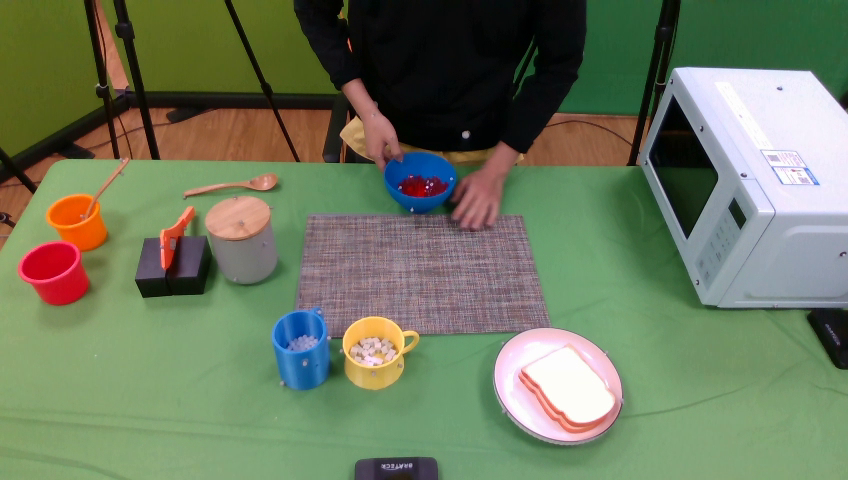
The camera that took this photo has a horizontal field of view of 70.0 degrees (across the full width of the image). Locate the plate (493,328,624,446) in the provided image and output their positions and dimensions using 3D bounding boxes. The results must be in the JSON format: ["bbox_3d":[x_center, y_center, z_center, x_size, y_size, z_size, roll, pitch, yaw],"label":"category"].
[{"bbox_3d":[0.213,0.236,0.974,0.208,0.039,0.206,2,46,-2],"label":"plate"}]

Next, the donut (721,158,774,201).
[{"bbox_3d":[0.648,-0.122,1.215,0.099,0.048,0.098,-3,56,5],"label":"donut"}]

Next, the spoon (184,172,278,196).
[{"bbox_3d":[-0.405,-0.116,1.275,0.194,0.022,0.041,-8,66,-12],"label":"spoon"}]

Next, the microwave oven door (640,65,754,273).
[{"bbox_3d":[0.523,-0.147,1.193,0.039,0.245,0.353,0,47,-3],"label":"microwave oven door"}]

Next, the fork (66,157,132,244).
[{"bbox_3d":[-0.608,-0.074,1.132,0.207,0.019,0.028,-52,48,10],"label":"fork"}]

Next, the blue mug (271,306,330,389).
[{"bbox_3d":[-0.188,0.163,0.969,0.082,0.106,0.116,15,47,10],"label":"blue mug"}]

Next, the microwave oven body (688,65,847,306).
[{"bbox_3d":[0.669,-0.111,1.176,0.326,0.261,0.439,0,46,-3],"label":"microwave oven body"}]

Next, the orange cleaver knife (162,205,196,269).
[{"bbox_3d":[-0.454,-0.010,1.129,0.012,0.077,0.210,-2,20,-5],"label":"orange cleaver knife"}]

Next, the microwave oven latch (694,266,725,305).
[{"bbox_3d":[0.523,0.082,1.115,0.030,0.029,0.078,3,46,0],"label":"microwave oven latch"}]

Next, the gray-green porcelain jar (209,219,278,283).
[{"bbox_3d":[-0.323,0.007,1.092,0.106,0.127,0.105,2,46,-2],"label":"gray-green porcelain jar"}]

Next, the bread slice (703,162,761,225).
[{"bbox_3d":[0.648,-0.103,1.266,0.105,0.019,0.131,14,72,11],"label":"bread slice"}]

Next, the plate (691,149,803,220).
[{"bbox_3d":[0.652,-0.108,1.237,0.209,0.038,0.208,-1,45,1],"label":"plate"}]

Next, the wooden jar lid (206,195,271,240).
[{"bbox_3d":[-0.319,-0.036,1.046,0.108,0.021,0.107,1,44,0],"label":"wooden jar lid"}]

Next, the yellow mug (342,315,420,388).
[{"bbox_3d":[-0.067,0.177,0.990,0.131,0.064,0.099,-16,50,-19],"label":"yellow mug"}]

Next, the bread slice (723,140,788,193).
[{"bbox_3d":[0.661,-0.147,1.201,0.107,0.018,0.133,0,53,9],"label":"bread slice"}]

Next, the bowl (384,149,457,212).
[{"bbox_3d":[-0.009,-0.112,1.262,0.151,0.077,0.150,2,46,-2],"label":"bowl"}]
